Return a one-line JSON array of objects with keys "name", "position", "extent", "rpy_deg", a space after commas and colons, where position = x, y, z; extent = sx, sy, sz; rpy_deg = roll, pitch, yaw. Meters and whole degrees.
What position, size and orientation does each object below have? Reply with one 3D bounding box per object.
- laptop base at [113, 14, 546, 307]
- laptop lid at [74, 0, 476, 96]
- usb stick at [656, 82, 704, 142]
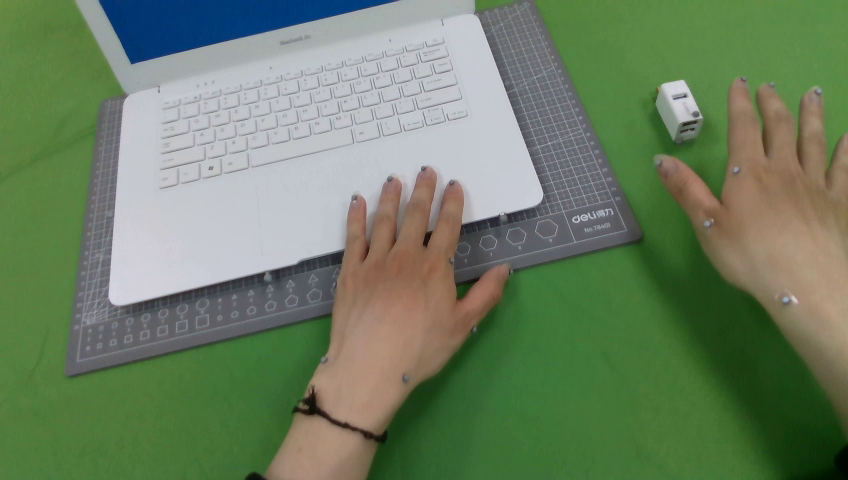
[{"name": "laptop base", "position": [-0.095, -0.081, 0.537], "extent": [0.354, 0.023, 0.233], "rpy_deg": [-14, 61, 0]}, {"name": "laptop lid", "position": [-0.139, -0.265, 0.522], "extent": [0.357, 0.244, 0.013], "rpy_deg": [-15, 40, 1]}, {"name": "usb stick", "position": [0.212, -0.112, 0.509], "extent": [0.021, 0.027, 0.058], "rpy_deg": [-9, 53, 0]}]
